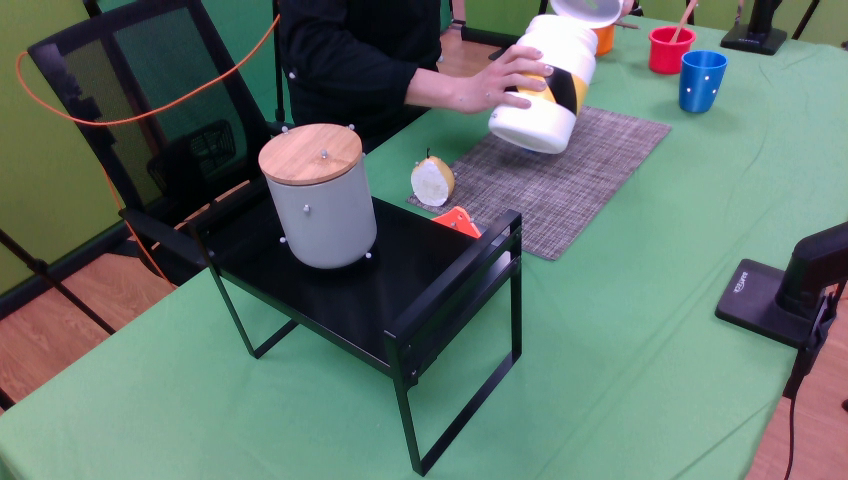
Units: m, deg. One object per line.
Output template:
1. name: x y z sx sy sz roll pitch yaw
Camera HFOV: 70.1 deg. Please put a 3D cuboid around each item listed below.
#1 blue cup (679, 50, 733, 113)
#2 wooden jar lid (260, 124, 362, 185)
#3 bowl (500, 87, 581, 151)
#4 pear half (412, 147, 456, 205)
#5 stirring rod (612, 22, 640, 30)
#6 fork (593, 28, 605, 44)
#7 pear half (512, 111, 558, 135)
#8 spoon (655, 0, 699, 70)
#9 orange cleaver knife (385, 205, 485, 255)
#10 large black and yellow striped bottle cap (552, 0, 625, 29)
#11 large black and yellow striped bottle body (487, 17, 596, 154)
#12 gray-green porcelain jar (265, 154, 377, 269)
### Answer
1. blue cup: 0.545 -0.309 1.193 0.092 0.100 0.092 -4 39 3
2. wooden jar lid: -0.119 -0.088 0.645 0.108 0.021 0.108 -4 40 4
3. bowl: 0.220 -0.223 1.155 0.151 0.077 0.150 -4 40 4
4. pear half: 0.019 -0.120 1.042 0.076 0.110 0.056 11 44 16
5. stirring rod: 0.419 -0.508 1.404 0.174 0.006 0.014 28 54 35
6. fork: 0.446 -0.538 1.438 0.207 0.019 0.028 -57 35 12
7. pear half: 0.212 -0.227 1.152 0.088 0.031 0.070 7 45 10
8. spoon: 0.567 -0.463 1.337 0.041 0.022 0.193 30 96 38
9. orange cleaver knife: 0.012 -0.010 0.942 0.012 0.077 0.210 -36 19 -35
10. large black and yellow striped bottle cap: 0.262 -0.384 0.969 0.114 0.116 0.019 16 74 25
11. large black and yellow striped bottle body: 0.190 -0.243 0.962 0.130 0.132 0.184 21 91 29
12. gray-green porcelain jar: -0.112 -0.039 0.685 0.106 0.127 0.105 -4 40 4
